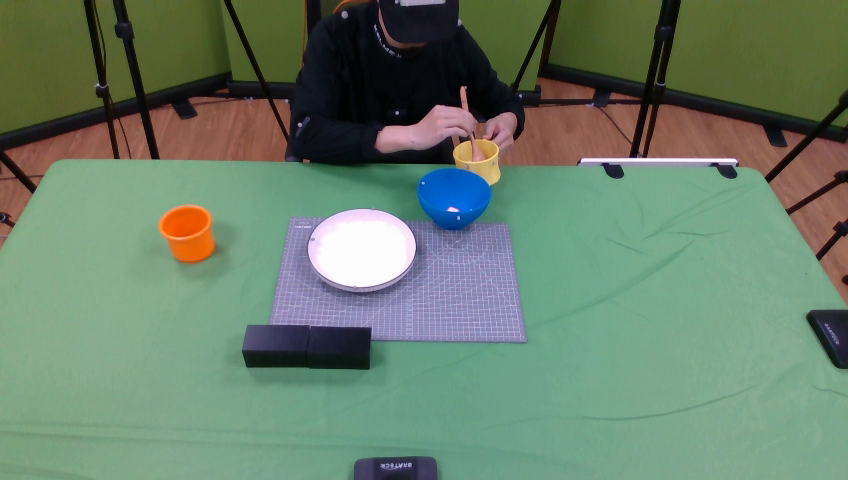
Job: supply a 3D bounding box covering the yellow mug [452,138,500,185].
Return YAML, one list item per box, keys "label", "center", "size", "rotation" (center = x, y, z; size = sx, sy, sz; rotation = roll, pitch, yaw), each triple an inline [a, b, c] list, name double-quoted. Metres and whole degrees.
- label: "yellow mug"
  center: [0.118, -0.176, 1.319]
  size: [0.100, 0.064, 0.130]
  rotation: [8, 40, 20]

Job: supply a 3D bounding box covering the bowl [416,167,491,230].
- label: "bowl"
  center: [0.057, -0.074, 1.231]
  size: [0.151, 0.077, 0.150]
  rotation: [2, 42, -2]

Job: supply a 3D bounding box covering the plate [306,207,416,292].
- label: "plate"
  center: [-0.119, 0.021, 1.153]
  size: [0.209, 0.038, 0.208]
  rotation: [2, 46, -2]

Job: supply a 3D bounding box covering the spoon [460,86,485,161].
- label: "spoon"
  center: [0.098, -0.227, 1.275]
  size: [0.042, 0.194, 0.021]
  rotation: [-17, 5, -30]
